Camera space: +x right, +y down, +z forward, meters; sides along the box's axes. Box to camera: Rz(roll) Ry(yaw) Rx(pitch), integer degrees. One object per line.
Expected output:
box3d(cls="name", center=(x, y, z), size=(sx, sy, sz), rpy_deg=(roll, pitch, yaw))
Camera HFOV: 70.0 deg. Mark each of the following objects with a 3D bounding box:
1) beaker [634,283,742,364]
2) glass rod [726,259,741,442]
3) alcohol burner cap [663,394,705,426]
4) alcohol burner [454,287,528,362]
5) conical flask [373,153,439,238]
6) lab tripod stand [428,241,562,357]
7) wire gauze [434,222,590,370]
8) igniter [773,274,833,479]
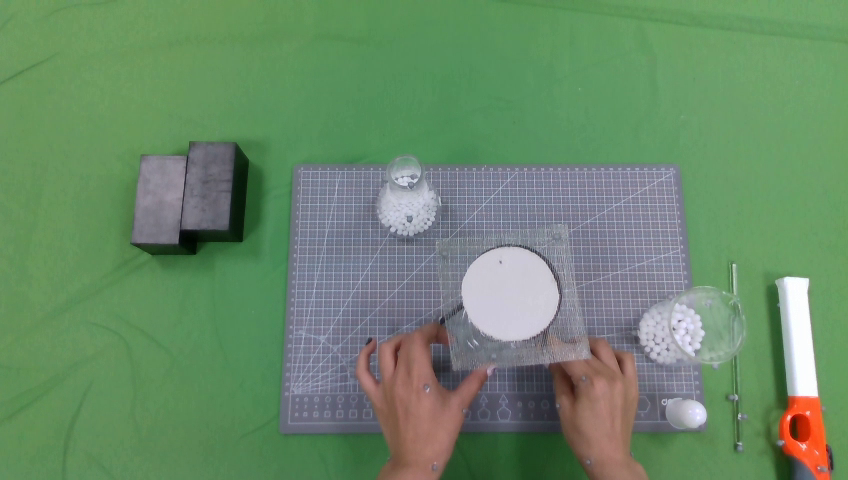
box3d(cls="beaker", center=(0.266, 0.087, 0.618), size=(0.084, 0.100, 0.073), rpy_deg=(-36, 80, -9))
box3d(cls="glass rod", center=(0.338, 0.117, 0.661), size=(0.008, 0.008, 0.198), rpy_deg=(4, 77, 0))
box3d(cls="alcohol burner cap", center=(0.271, 0.176, 0.626), size=(0.034, 0.048, 0.033), rpy_deg=(0, 76, -1))
box3d(cls="alcohol burner", center=(0.069, 0.082, 0.609), size=(0.078, 0.120, 0.077), rpy_deg=(0, 74, 1))
box3d(cls="conical flask", center=(-0.020, -0.052, 0.635), size=(0.075, 0.122, 0.075), rpy_deg=(0, 76, 0))
box3d(cls="lab tripod stand", center=(0.075, 0.063, 0.603), size=(0.148, 0.132, 0.147), rpy_deg=(0, 78, 0))
box3d(cls="wire gauze", center=(0.077, 0.049, 0.537), size=(0.125, 0.011, 0.121), rpy_deg=(-6, 77, -1))
box3d(cls="igniter", center=(0.398, 0.173, 0.639), size=(0.057, 0.025, 0.275), rpy_deg=(5, 77, -10))
